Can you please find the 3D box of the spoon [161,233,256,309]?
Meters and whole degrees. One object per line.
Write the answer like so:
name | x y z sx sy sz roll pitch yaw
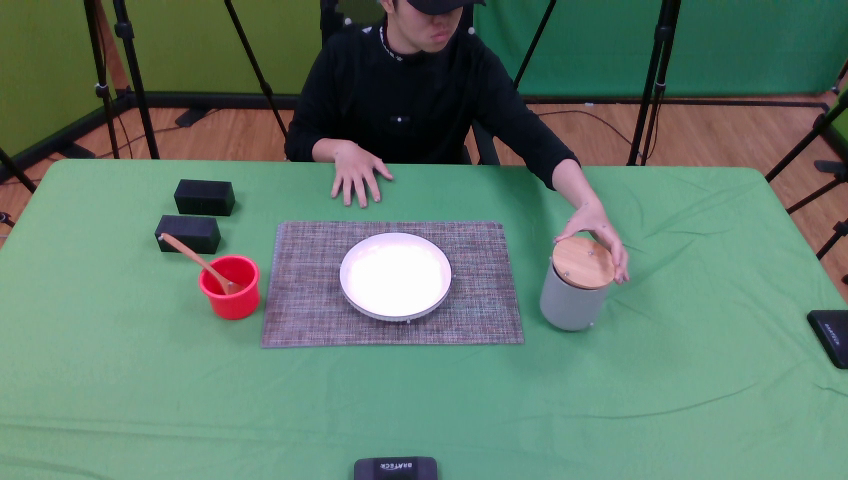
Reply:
spoon | -0.366 0.051 1.036 0.194 0.021 0.041 47 45 -21

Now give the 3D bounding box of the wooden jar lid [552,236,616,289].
wooden jar lid | 0.264 0.040 1.008 0.108 0.021 0.107 5 49 -6

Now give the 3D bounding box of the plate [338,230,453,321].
plate | -0.052 0.068 1.111 0.208 0.039 0.206 2 46 -2

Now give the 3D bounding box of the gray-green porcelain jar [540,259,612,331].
gray-green porcelain jar | 0.262 0.088 1.058 0.106 0.127 0.105 2 46 -2
